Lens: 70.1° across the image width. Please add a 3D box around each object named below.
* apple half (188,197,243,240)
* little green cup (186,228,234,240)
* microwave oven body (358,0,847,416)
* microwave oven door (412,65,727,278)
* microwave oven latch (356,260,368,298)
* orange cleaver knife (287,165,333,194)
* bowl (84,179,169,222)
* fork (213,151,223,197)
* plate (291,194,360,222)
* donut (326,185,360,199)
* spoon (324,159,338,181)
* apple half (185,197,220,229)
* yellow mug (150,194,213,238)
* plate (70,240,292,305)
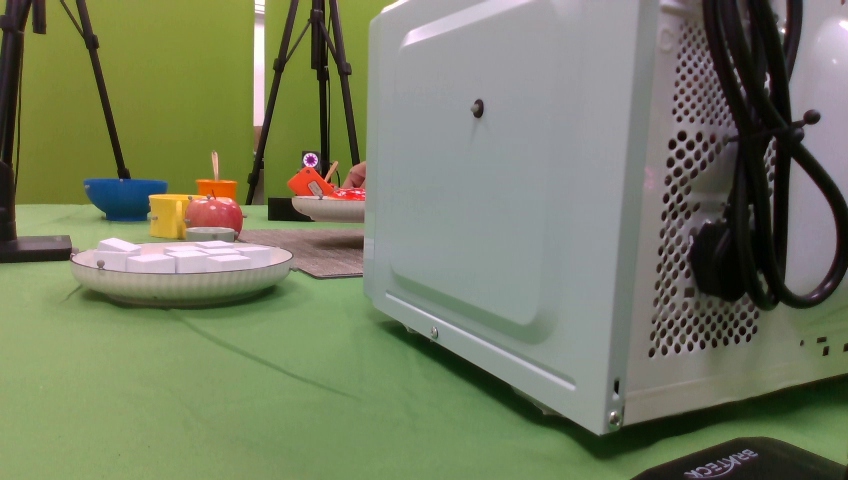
[{"bbox_3d":[-0.305,-0.026,0.907,0.053,0.074,0.081,12,8,31],"label":"apple half"},{"bbox_3d":[-0.284,0.005,0.805,0.061,0.038,0.061,3,8,0],"label":"little green cup"},{"bbox_3d":[0.211,-0.047,0.475,0.444,0.260,0.324,-1,8,-28],"label":"microwave oven body"},{"bbox_3d":[0.165,-0.088,0.736,0.355,0.243,0.039,4,8,11],"label":"microwave oven door"},{"bbox_3d":[-0.020,0.033,0.530,0.079,0.029,0.030,0,7,-26],"label":"microwave oven latch"},{"bbox_3d":[-0.211,-0.093,1.382,0.212,0.077,0.012,34,1,-15],"label":"orange cleaver knife"},{"bbox_3d":[-0.584,-0.078,1.194,0.151,0.077,0.151,3,8,0],"label":"bowl"},{"bbox_3d":[-0.494,-0.143,1.442,0.028,0.018,0.206,-2,52,-20],"label":"fork"},{"bbox_3d":[-0.110,-0.053,0.978,0.209,0.038,0.209,1,6,0],"label":"plate"},{"bbox_3d":[-0.111,-0.064,0.979,0.099,0.048,0.099,2,5,0],"label":"donut"},{"bbox_3d":[-0.257,-0.147,1.567,0.041,0.022,0.193,2,50,19],"label":"spoon"},{"bbox_3d":[-0.338,-0.031,0.927,0.032,0.081,0.081,12,12,31],"label":"apple half"},{"bbox_3d":[-0.401,-0.040,1.003,0.100,0.064,0.130,-1,9,-20],"label":"yellow mug"},{"bbox_3d":[-0.242,0.031,0.618,0.208,0.039,0.207,2,8,0],"label":"plate"}]
